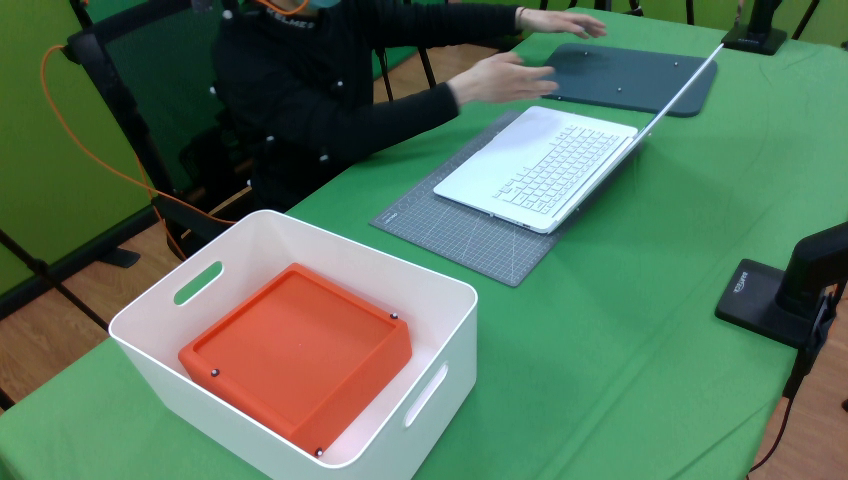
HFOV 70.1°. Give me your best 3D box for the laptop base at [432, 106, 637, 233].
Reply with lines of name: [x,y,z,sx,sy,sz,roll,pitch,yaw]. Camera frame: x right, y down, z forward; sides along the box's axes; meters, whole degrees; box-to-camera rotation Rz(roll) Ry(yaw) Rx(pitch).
laptop base: [0.210,-0.142,1.111,0.233,0.023,0.355,21,48,33]

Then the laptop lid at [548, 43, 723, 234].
laptop lid: [0.336,-0.160,0.956,0.013,0.241,0.358,42,54,8]

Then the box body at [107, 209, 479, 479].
box body: [-0.140,0.136,0.725,0.361,0.161,0.254,19,47,28]

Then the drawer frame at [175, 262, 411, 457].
drawer frame: [-0.162,0.145,0.770,0.212,0.083,0.202,24,49,30]

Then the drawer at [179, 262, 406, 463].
drawer: [-0.163,0.145,0.770,0.210,0.073,0.195,25,51,31]

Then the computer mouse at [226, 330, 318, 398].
computer mouse: [-0.202,0.158,0.804,0.118,0.041,0.062,-29,40,-33]

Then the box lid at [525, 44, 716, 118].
box lid: [0.432,-0.360,1.341,0.369,0.015,0.263,16,45,24]
